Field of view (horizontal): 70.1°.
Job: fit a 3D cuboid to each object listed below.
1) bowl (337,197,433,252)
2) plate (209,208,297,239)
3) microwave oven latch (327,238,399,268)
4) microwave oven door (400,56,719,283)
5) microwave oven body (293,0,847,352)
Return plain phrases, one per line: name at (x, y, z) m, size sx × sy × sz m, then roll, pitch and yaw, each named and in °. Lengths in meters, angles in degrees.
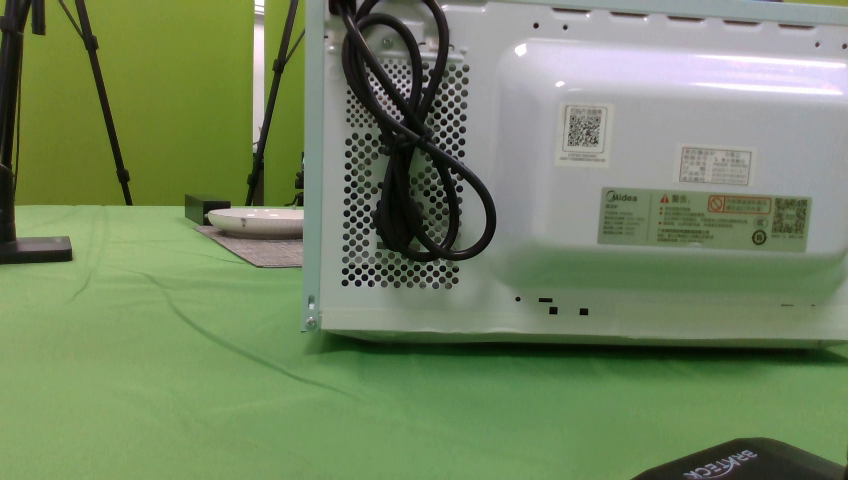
bowl at (-0.062, -0.025, 0.955) m, size 0.151 × 0.077 × 0.151 m, roll 2°, pitch 8°, yaw 0°
plate at (-0.271, -0.029, 1.074) m, size 0.208 × 0.039 × 0.207 m, roll 3°, pitch 7°, yaw 0°
microwave oven latch at (-0.069, 0.015, 0.694) m, size 0.079 × 0.029 × 0.030 m, roll 3°, pitch 7°, yaw -3°
microwave oven door at (0.155, -0.077, 0.698) m, size 0.356 × 0.243 × 0.039 m, roll 2°, pitch 8°, yaw -5°
microwave oven body at (0.122, -0.055, 0.550) m, size 0.442 × 0.260 × 0.325 m, roll 3°, pitch 7°, yaw -5°
